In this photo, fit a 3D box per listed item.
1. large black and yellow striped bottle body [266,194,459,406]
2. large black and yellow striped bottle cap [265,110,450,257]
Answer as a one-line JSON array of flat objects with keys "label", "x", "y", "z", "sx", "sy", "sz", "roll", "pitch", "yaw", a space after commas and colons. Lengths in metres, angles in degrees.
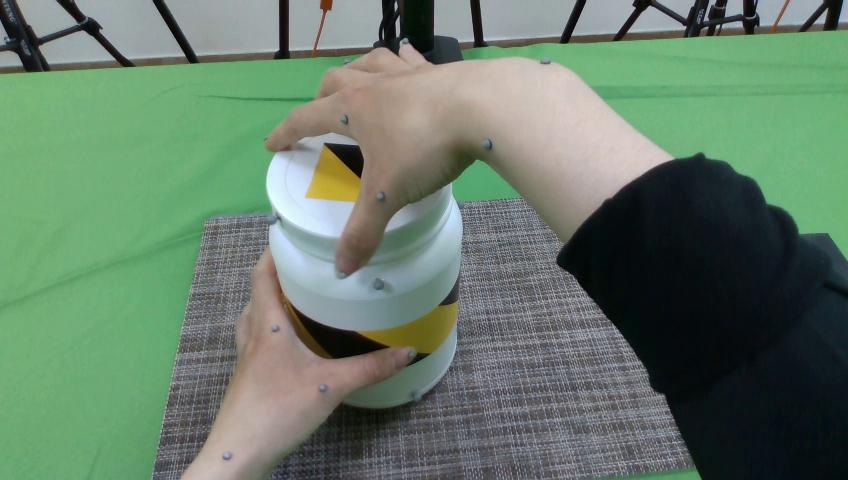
[{"label": "large black and yellow striped bottle body", "x": -0.041, "y": 0.022, "z": 0.443, "sx": 0.131, "sy": 0.185, "sz": 0.129, "roll": 0, "pitch": 46, "yaw": 0}, {"label": "large black and yellow striped bottle cap", "x": -0.041, "y": -0.039, "z": 0.379, "sx": 0.115, "sy": 0.019, "sz": 0.114, "roll": -1, "pitch": 50, "yaw": 2}]
